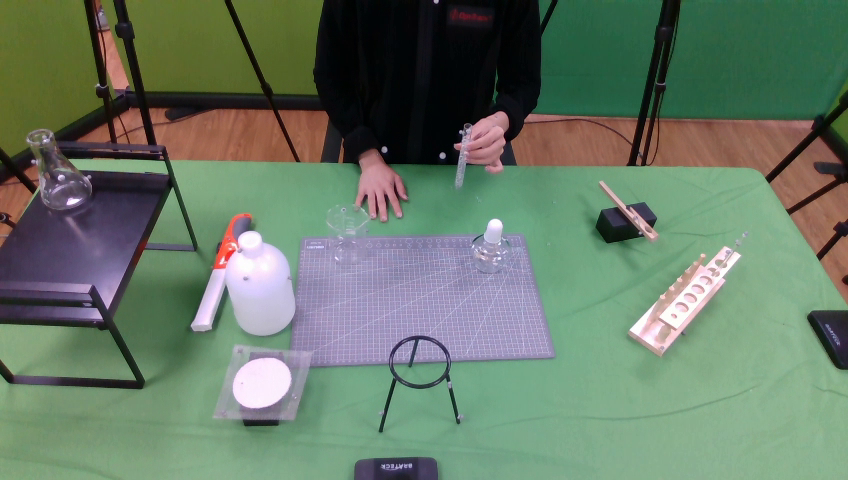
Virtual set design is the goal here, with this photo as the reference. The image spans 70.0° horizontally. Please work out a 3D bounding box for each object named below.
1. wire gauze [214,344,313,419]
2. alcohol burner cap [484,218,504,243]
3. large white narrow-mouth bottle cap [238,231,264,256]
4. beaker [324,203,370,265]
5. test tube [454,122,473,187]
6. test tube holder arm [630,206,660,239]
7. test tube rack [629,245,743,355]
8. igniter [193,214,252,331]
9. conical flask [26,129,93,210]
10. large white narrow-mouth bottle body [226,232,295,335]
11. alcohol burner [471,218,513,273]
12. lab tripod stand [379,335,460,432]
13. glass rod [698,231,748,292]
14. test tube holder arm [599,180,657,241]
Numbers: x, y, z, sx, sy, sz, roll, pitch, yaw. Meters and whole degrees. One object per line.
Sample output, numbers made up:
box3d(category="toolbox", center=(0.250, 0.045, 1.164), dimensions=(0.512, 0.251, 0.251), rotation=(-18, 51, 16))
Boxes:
box3d(category="wire gauze", center=(-0.241, 0.213, 0.915), dimensions=(0.121, 0.011, 0.124), rotation=(5, 46, 1))
box3d(category="alcohol burner cap", center=(0.130, -0.021, 1.106), dimensions=(0.034, 0.048, 0.033), rotation=(3, 51, -4))
box3d(category="large white narrow-mouth bottle cap", center=(-0.266, 0.006, 0.932), dimensions=(0.038, 0.024, 0.037), rotation=(2, 46, -2))
box3d(category="beaker", center=(-0.142, -0.009, 1.137), dimensions=(0.084, 0.101, 0.073), rotation=(-3, 47, -7))
box3d(category="test tube", center=(0.070, -0.150, 1.083), dimensions=(0.017, 0.151, 0.017), rotation=(3, 52, -3))
box3d(category="test tube holder arm", center=(0.431, -0.035, 1.192), dimensions=(0.010, 0.015, 0.087), rotation=(-23, 51, -12))
box3d(category="test tube rack", center=(0.474, 0.095, 1.091), dimensions=(0.242, 0.085, 0.066), rotation=(-34, 56, -31))
box3d(category="igniter", center=(-0.368, 0.050, 1.119), dimensions=(0.057, 0.025, 0.275), rotation=(-3, 46, 8))
box3d(category="conical flask", center=(-0.575, -0.113, 0.946), dimensions=(0.075, 0.122, 0.075), rotation=(2, 46, -2))
box3d(category="large white narrow-mouth bottle body", center=(-0.270, 0.065, 0.995), dimensions=(0.102, 0.195, 0.101), rotation=(2, 46, -2))
box3d(category="alcohol burner", center=(0.128, 0.005, 1.132), dimensions=(0.078, 0.120, 0.077), rotation=(0, 47, 0))
box3d(category="lab tripod stand", center=(-0.011, 0.214, 0.911), dimensions=(0.148, 0.132, 0.147), rotation=(1, 45, 0))
box3d(category="glass rod", center=(0.514, 0.044, 1.051), dimensions=(0.008, 0.200, 0.008), rotation=(1, 55, -1))
box3d(category="test tube holder arm", center=(0.407, -0.062, 1.219), dimensions=(0.013, 0.015, 0.177), rotation=(-23, 51, -12))
